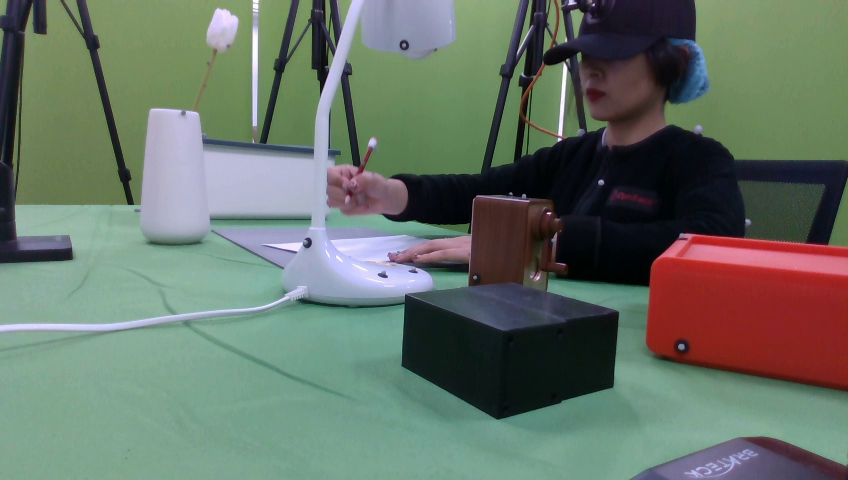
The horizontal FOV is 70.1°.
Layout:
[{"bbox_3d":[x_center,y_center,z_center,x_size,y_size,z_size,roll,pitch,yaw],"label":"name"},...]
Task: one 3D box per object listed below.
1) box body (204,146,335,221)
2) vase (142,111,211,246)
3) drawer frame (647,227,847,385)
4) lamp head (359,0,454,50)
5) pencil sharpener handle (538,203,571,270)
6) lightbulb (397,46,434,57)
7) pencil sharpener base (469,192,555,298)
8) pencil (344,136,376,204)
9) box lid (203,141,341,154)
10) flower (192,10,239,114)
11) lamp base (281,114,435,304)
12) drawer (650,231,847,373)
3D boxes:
[{"bbox_3d":[-0.411,-0.135,1.386,0.366,0.160,0.253,-2,9,-29],"label":"box body"},{"bbox_3d":[-0.378,-0.093,0.920,0.098,0.200,0.098,2,9,0],"label":"vase"},{"bbox_3d":[0.303,0.043,0.495,0.201,0.082,0.214,6,9,26],"label":"drawer frame"},{"bbox_3d":[-0.024,-0.282,0.674,0.112,0.123,0.112,-3,38,3],"label":"lamp head"},{"bbox_3d":[0.137,-0.003,0.619,0.030,0.067,0.036,8,6,38],"label":"pencil sharpener handle"},{"bbox_3d":[-0.017,-0.264,0.692,0.059,0.108,0.059,-9,28,5],"label":"lightbulb"},{"bbox_3d":[0.097,0.003,0.652,0.076,0.107,0.061,8,9,38],"label":"pencil sharpener base"},{"bbox_3d":[-0.095,-0.107,0.905,0.012,0.012,0.194,3,37,8],"label":"pencil"},{"bbox_3d":[-0.396,-0.212,1.373,0.373,0.015,0.262,-1,9,-29],"label":"box lid"},{"bbox_3d":[-0.354,-0.174,0.915,0.038,0.361,0.044,18,-4,12],"label":"flower"},{"bbox_3d":[-0.071,-0.035,0.614,0.160,0.180,0.180,6,10,27],"label":"lamp base"},{"bbox_3d":[0.303,0.044,0.499,0.194,0.073,0.212,7,9,27],"label":"drawer"}]
